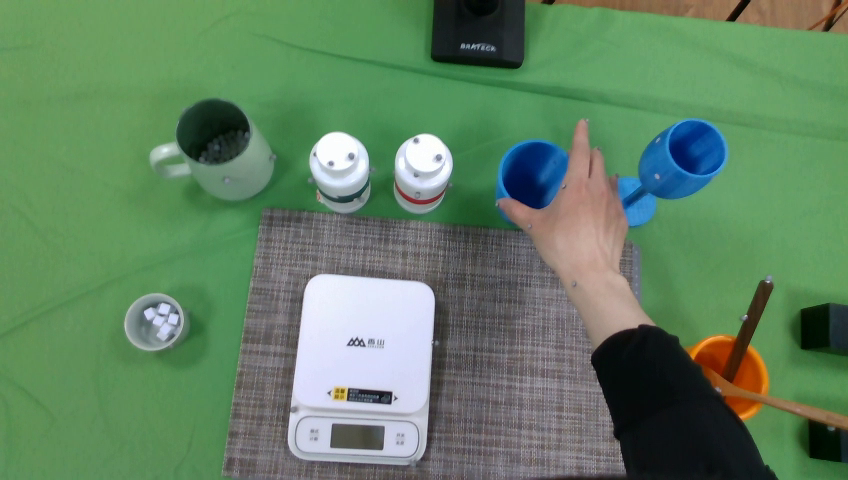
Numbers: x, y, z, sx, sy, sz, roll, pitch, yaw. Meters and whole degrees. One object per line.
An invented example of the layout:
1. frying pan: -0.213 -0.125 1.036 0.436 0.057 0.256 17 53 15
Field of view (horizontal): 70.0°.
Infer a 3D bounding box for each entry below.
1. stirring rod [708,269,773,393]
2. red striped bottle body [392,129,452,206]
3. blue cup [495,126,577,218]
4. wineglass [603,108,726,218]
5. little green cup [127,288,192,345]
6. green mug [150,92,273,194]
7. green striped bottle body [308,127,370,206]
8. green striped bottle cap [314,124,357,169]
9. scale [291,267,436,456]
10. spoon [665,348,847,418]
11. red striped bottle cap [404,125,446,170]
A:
1. stirring rod: 0.337 0.102 0.649 0.014 0.177 0.006 10 36 12
2. red striped bottle body: -0.003 -0.084 0.680 0.063 0.120 0.062 1 77 -4
3. blue cup: 0.119 -0.067 0.695 0.093 0.100 0.092 1 77 -2
4. wineglass: 0.259 -0.079 0.670 0.074 0.173 0.073 1 76 -3
5. little green cup: -0.285 0.085 0.662 0.061 0.039 0.061 1 77 -5
6. green mug: -0.237 -0.102 0.674 0.125 0.105 0.092 -17 79 -7
7. green striped bottle body: -0.093 -0.084 0.673 0.063 0.119 0.063 1 76 -3
8. green striped bottle cap: -0.091 -0.096 0.623 0.044 0.020 0.044 1 77 -4
9. scale: -0.065 0.132 0.668 0.149 0.031 0.200 4 78 -3
10. spoon: 0.352 0.155 0.638 0.022 0.192 0.041 24 82 -43
11. red striped bottle cap: 0.001 -0.097 0.629 0.044 0.018 0.044 1 79 -3
